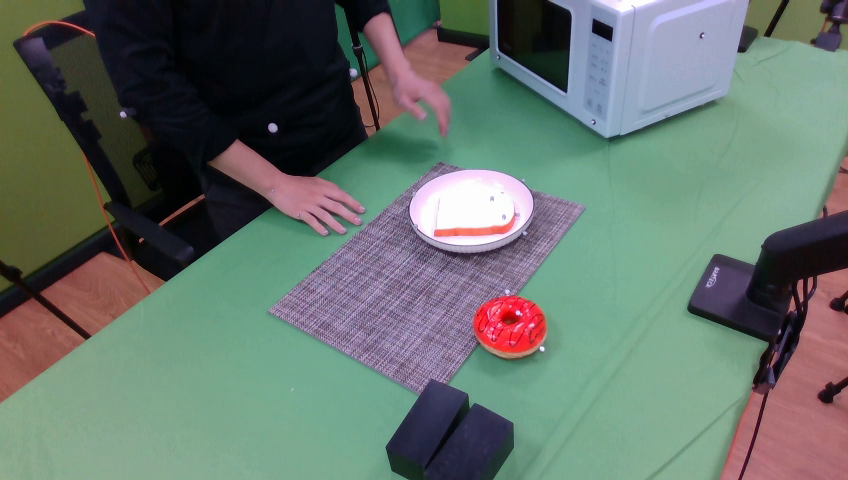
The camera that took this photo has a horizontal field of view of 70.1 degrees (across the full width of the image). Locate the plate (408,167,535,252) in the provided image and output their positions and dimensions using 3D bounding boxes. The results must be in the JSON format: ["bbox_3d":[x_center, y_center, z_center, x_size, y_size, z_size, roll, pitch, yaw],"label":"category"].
[{"bbox_3d":[0.078,-0.047,0.996,0.207,0.039,0.206,-4,41,4],"label":"plate"}]

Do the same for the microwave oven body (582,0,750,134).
[{"bbox_3d":[0.382,-0.444,1.246,0.327,0.261,0.437,-22,42,-16],"label":"microwave oven body"}]

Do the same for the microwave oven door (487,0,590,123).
[{"bbox_3d":[0.232,-0.420,1.231,0.039,0.245,0.352,-22,43,-16],"label":"microwave oven door"}]

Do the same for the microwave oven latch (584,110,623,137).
[{"bbox_3d":[0.337,-0.222,1.142,0.030,0.029,0.078,-21,42,-14],"label":"microwave oven latch"}]

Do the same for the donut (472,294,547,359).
[{"bbox_3d":[0.114,0.114,0.803,0.099,0.048,0.098,0,40,1],"label":"donut"}]

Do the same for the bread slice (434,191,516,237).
[{"bbox_3d":[0.086,-0.046,0.996,0.131,0.019,0.104,-1,42,7],"label":"bread slice"}]
